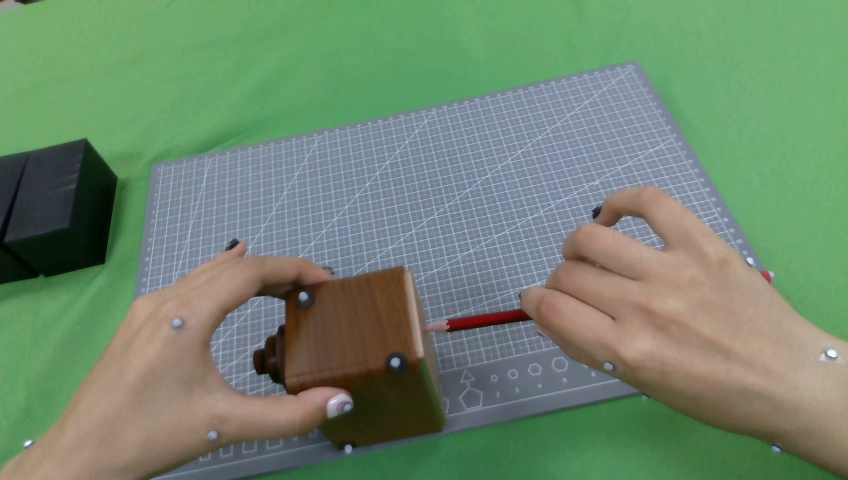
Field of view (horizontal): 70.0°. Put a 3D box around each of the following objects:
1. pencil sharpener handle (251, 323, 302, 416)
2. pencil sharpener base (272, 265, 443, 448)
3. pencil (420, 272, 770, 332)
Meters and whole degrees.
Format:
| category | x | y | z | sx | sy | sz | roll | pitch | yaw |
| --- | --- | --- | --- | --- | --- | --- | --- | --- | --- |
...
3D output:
| category | x | y | z | sx | sy | sz | roll | pitch | yaw |
| --- | --- | --- | --- | --- | --- | --- | --- | --- | --- |
| pencil sharpener handle | -0.086 | 0.077 | 0.340 | 0.030 | 0.068 | 0.035 | -11 | 43 | 2 |
| pencil sharpener base | -0.035 | 0.072 | 0.351 | 0.077 | 0.108 | 0.060 | -11 | 54 | 2 |
| pencil | 0.090 | 0.035 | 0.329 | 0.194 | 0.012 | 0.012 | -8 | 53 | 1 |
